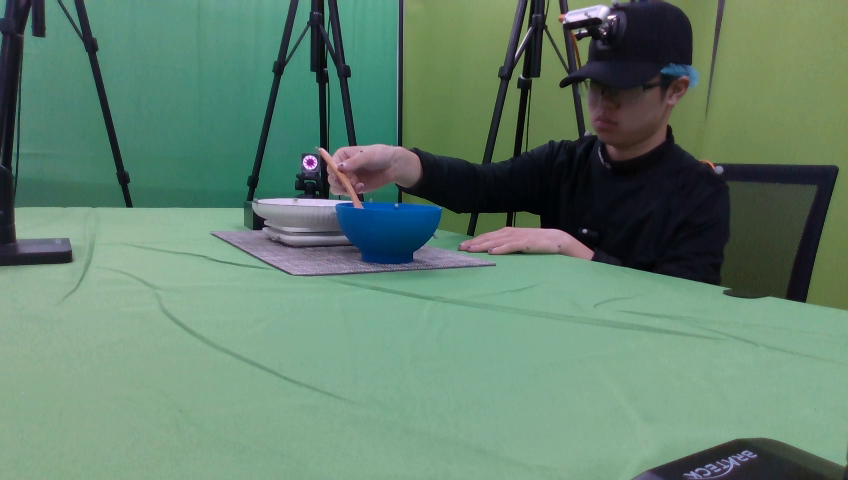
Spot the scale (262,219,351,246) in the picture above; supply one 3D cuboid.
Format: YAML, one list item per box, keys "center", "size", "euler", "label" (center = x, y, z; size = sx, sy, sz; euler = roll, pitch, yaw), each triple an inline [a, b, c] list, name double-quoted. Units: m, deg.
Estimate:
- center: [-0.160, -0.015, 1.027]
  size: [0.202, 0.031, 0.148]
  euler: [-2, 8, -32]
  label: "scale"

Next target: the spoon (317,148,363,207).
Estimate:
- center: [-0.109, -0.071, 0.881]
  size: [0.042, 0.021, 0.193]
  euler: [-2, 52, -46]
  label: "spoon"

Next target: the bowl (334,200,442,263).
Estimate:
- center: [-0.051, -0.012, 0.849]
  size: [0.151, 0.077, 0.151]
  euler: [2, 8, 0]
  label: "bowl"

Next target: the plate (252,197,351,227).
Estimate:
- center: [-0.178, -0.047, 1.012]
  size: [0.209, 0.038, 0.209]
  euler: [2, 6, 0]
  label: "plate"
